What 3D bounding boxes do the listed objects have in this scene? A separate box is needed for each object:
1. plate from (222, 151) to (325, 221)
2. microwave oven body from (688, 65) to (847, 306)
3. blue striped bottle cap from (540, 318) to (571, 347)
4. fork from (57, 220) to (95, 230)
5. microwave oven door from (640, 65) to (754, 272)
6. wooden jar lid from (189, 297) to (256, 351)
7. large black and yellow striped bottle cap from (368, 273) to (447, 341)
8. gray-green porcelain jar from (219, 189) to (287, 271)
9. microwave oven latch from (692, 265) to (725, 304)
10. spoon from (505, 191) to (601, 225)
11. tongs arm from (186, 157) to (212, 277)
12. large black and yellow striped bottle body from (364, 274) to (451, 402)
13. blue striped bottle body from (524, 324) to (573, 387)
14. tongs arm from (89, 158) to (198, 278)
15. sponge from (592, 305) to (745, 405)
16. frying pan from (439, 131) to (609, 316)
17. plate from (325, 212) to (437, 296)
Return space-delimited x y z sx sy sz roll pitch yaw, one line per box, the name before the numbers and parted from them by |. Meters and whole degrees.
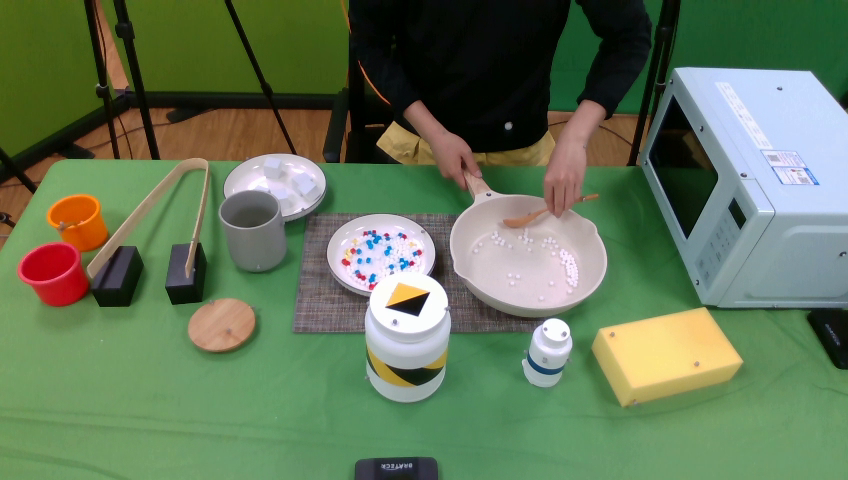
plate | -0.310 -0.106 1.263 0.208 0.039 0.206 2 47 -2
microwave oven body | 0.669 -0.111 1.176 0.326 0.261 0.439 0 46 -3
blue striped bottle cap | 0.203 0.142 0.933 0.044 0.021 0.044 3 49 -4
fork | -0.624 -0.027 1.086 0.028 0.207 0.018 -3 92 -17
microwave oven door | 0.524 -0.147 1.193 0.039 0.245 0.353 0 47 -3
wooden jar lid | -0.342 0.145 1.033 0.108 0.021 0.107 3 45 -2
large black and yellow striped bottle cap | -0.023 0.094 0.875 0.115 0.019 0.114 2 45 -2
gray-green porcelain jar | -0.310 -0.014 1.113 0.106 0.127 0.105 2 46 -2
microwave oven latch | 0.522 0.081 1.116 0.030 0.029 0.078 1 46 -2
spoon | 0.251 -0.064 1.193 0.193 0.042 0.021 -21 66 19
tongs arm | -0.445 -0.058 1.168 0.051 0.026 0.382 -5 37 -6
large black and yellow striped bottle body | -0.026 0.151 0.937 0.131 0.185 0.130 2 47 -2
blue striped bottle body | 0.200 0.178 0.970 0.063 0.121 0.062 2 46 -2
tongs arm | -0.529 -0.058 1.164 0.028 0.028 0.385 1 36 8
sponge | 0.405 0.190 1.014 0.207 0.061 0.117 -10 48 -12
frying pan | 0.149 -0.049 1.190 0.307 0.103 0.484 -17 58 -20
plate | -0.080 0.030 1.143 0.209 0.038 0.208 3 46 -2
